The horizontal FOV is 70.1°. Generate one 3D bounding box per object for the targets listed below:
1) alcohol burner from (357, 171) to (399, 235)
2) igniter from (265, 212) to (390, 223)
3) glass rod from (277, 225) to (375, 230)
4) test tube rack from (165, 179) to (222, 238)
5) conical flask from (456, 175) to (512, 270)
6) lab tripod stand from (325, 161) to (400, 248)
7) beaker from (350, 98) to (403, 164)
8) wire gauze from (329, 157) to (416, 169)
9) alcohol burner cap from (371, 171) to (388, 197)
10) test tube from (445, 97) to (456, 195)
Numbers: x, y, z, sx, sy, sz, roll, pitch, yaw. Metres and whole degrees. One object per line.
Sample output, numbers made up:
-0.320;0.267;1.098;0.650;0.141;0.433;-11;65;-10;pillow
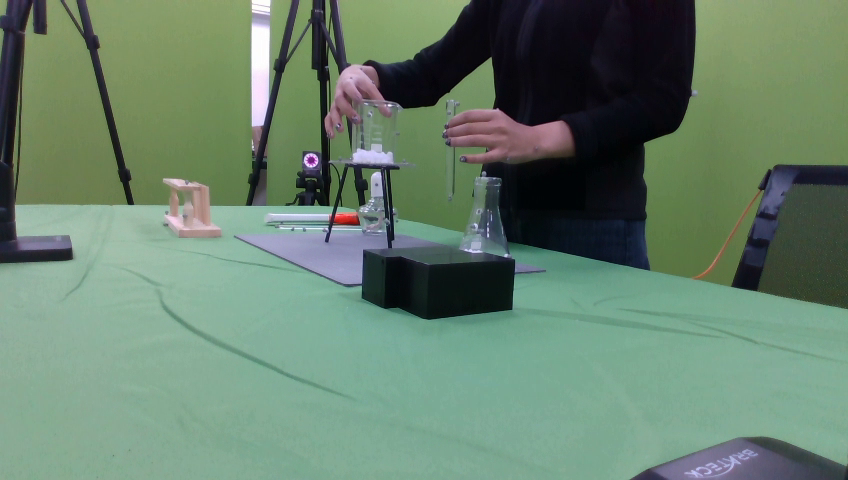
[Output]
-0.085;-0.069;1.125;0.078;0.119;0.078;3;10;0;alcohol burner
-0.196;-0.048;1.285;0.278;0.025;0.057;-2;-2;-30;igniter
-0.187;-0.024;1.178;0.201;0.008;0.008;1;6;-31;glass rod
-0.423;-0.062;1.098;0.067;0.085;0.241;-2;9;-28;test tube rack
0.082;-0.025;0.801;0.075;0.122;0.075;2;7;0;conical flask
-0.083;-0.059;0.977;0.148;0.131;0.148;4;8;0;lab tripod stand
-0.078;-0.173;0.970;0.084;0.100;0.074;2;9;-9;beaker
-0.079;-0.125;0.972;0.121;0.011;0.125;5;6;5;wire gauze
-0.085;-0.104;1.120;0.034;0.048;0.034;-5;8;1;alcohol burner cap
0.041;-0.145;0.941;0.017;0.150;0.017;1;5;0;test tube
